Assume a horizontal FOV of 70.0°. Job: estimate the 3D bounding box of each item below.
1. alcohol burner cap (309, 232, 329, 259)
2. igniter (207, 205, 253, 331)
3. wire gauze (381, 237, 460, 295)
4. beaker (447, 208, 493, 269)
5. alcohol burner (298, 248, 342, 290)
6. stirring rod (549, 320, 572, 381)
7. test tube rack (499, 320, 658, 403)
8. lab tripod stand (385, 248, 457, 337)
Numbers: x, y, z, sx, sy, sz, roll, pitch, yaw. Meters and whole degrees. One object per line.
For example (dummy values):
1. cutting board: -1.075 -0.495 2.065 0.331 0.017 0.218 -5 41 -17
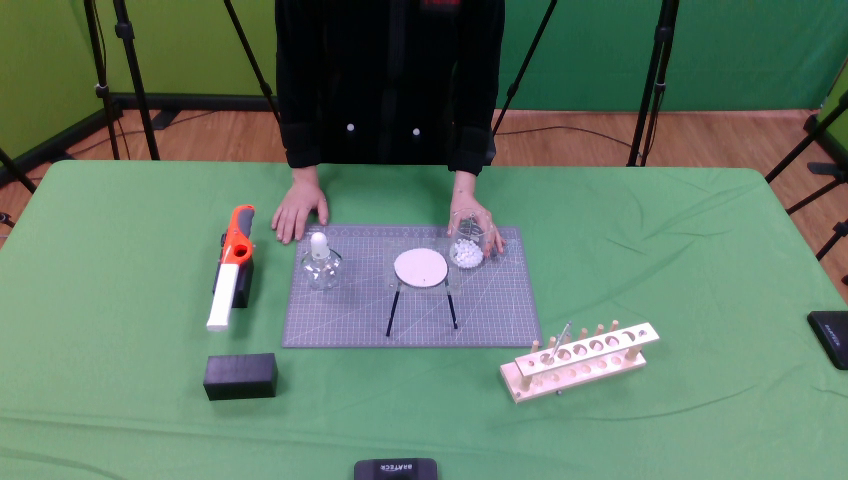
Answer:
1. alcohol burner cap: -0.185 0.008 1.058 0.034 0.048 0.033 0 43 1
2. igniter: -0.339 0.038 1.066 0.057 0.025 0.274 2 48 -7
3. wire gauze: -0.008 0.040 0.984 0.125 0.011 0.120 0 44 -4
4. beaker: 0.084 0.001 1.147 0.084 0.101 0.073 15 47 9
5. alcohol burner: -0.187 0.032 1.084 0.078 0.120 0.077 1 46 -1
6. stirring rod: 0.201 0.167 0.901 0.006 0.177 0.014 -16 54 -10
7. test tube rack: 0.252 0.187 0.994 0.243 0.085 0.066 -12 48 -15
8. lab tripod stand: -0.010 0.087 1.032 0.148 0.132 0.147 1 45 -1
